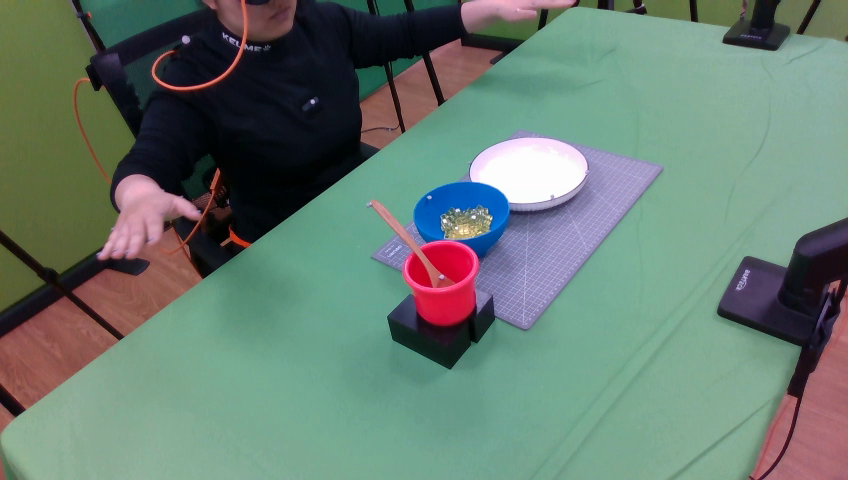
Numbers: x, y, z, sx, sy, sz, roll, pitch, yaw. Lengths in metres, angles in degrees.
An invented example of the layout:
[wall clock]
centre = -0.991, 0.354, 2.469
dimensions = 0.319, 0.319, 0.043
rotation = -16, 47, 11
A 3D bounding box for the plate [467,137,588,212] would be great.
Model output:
[plate]
centre = 0.181, -0.112, 1.064
dimensions = 0.207, 0.039, 0.206
rotation = -5, 40, 5

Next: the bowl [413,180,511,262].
[bowl]
centre = 0.062, -0.019, 0.944
dimensions = 0.151, 0.077, 0.150
rotation = -5, 40, 5

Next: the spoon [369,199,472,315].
[spoon]
centre = -0.006, 0.020, 0.787
dimensions = 0.042, 0.021, 0.194
rotation = -39, 92, -27
